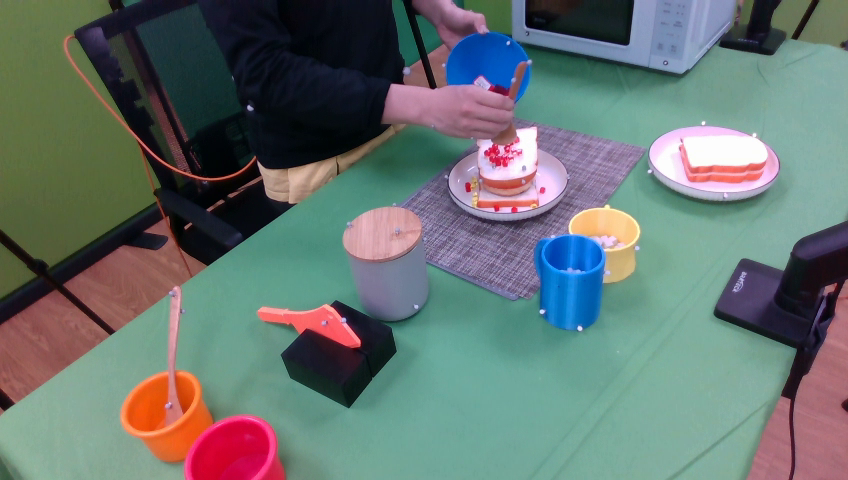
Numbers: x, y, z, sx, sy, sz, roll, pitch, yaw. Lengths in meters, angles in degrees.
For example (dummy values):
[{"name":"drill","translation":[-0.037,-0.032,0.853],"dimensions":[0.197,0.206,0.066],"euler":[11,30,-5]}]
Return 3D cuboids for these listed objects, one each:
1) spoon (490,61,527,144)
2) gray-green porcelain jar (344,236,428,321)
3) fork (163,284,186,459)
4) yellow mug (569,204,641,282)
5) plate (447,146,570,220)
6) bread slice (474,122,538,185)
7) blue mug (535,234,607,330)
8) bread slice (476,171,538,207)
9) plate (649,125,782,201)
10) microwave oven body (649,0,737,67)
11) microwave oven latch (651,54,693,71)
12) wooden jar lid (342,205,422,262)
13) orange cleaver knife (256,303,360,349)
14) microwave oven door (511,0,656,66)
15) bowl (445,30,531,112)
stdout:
[{"name":"spoon","translation":[0.126,-0.195,0.880],"dimensions":[0.042,0.194,0.021],"euler":[-2,62,-2]},{"name":"gray-green porcelain jar","translation":[-0.049,0.042,0.849],"dimensions":[0.106,0.127,0.105],"euler":[-4,41,4]},{"name":"fork","translation":[-0.302,0.157,0.733],"dimensions":[0.028,0.019,0.207],"euler":[-4,84,16]},{"name":"yellow mug","translation":[0.268,-0.005,0.904],"dimensions":[0.099,0.064,0.130],"euler":[7,41,15]},{"name":"plate","translation":[0.145,-0.098,1.046],"dimensions":[0.209,0.038,0.208],"euler":[-4,41,4]},{"name":"bread slice","translation":[0.141,-0.144,1.008],"dimensions":[0.107,0.018,0.133],"euler":[-9,48,9]},{"name":"blue mug","translation":[0.191,0.048,0.824],"dimensions":[0.082,0.106,0.115],"euler":[-26,44,-21]},{"name":"bread slice","translation":[0.144,-0.104,1.058],"dimensions":[0.105,0.019,0.131],"euler":[0,42,6]},{"name":"plate","translation":[0.493,-0.128,1.036],"dimensions":[0.207,0.039,0.206],"euler":[-4,41,4]},{"name":"microwave oven body","translation":[0.475,-0.602,1.411],"dimensions":[0.438,0.261,0.327],"euler":[23,50,32]},{"name":"microwave oven latch","translation":[0.532,-0.386,1.301],"dimensions":[0.078,0.029,0.030],"euler":[27,52,34]},{"name":"wooden jar lid","translation":[-0.055,-0.006,0.808],"dimensions":[0.108,0.021,0.108],"euler":[-6,40,6]},{"name":"orange cleaver knife","translation":[-0.160,0.115,0.813],"dimensions":[0.210,0.077,0.012],"euler":[-4,32,47]},{"name":"microwave oven door","translation":[0.351,-0.539,1.349],"dimensions":[0.353,0.245,0.039],"euler":[24,50,31]},{"name":"bowl","translation":[0.111,-0.289,1.084],"dimensions":[0.151,0.077,0.151],"euler":[0,77,0]}]
